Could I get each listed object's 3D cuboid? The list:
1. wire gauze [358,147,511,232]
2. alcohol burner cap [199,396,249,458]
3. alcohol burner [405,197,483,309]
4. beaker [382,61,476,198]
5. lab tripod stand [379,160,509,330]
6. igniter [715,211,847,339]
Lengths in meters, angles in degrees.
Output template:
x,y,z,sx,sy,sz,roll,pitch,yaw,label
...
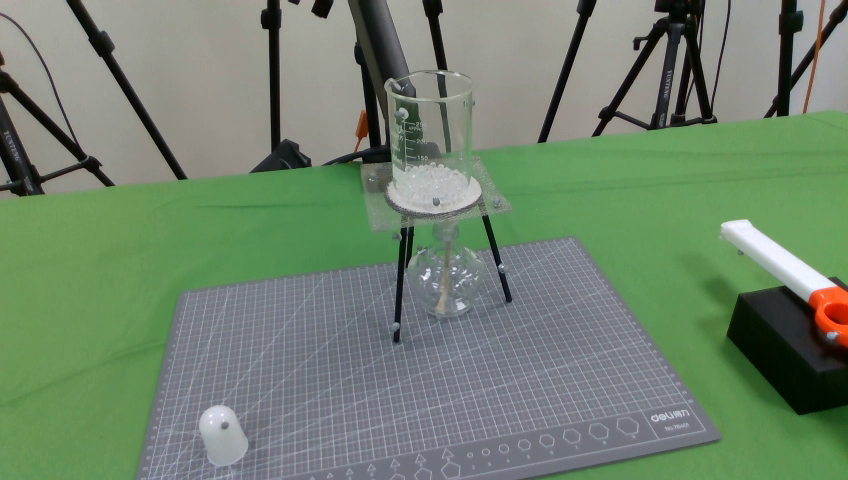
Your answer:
x,y,z,sx,sy,sz,roll,pitch,yaw,label
0.004,-0.053,0.547,0.121,0.011,0.123,-8,37,-7,wire gauze
-0.157,0.142,0.472,0.034,0.048,0.033,-1,35,1,alcohol burner cap
0.020,0.008,0.590,0.078,0.120,0.077,0,36,1,alcohol burner
0.002,-0.094,0.520,0.074,0.101,0.083,-30,43,-35,beaker
0.011,-0.001,0.588,0.148,0.132,0.147,-1,33,1,lab tripod stand
0.343,0.046,0.514,0.057,0.025,0.273,-9,32,-8,igniter
